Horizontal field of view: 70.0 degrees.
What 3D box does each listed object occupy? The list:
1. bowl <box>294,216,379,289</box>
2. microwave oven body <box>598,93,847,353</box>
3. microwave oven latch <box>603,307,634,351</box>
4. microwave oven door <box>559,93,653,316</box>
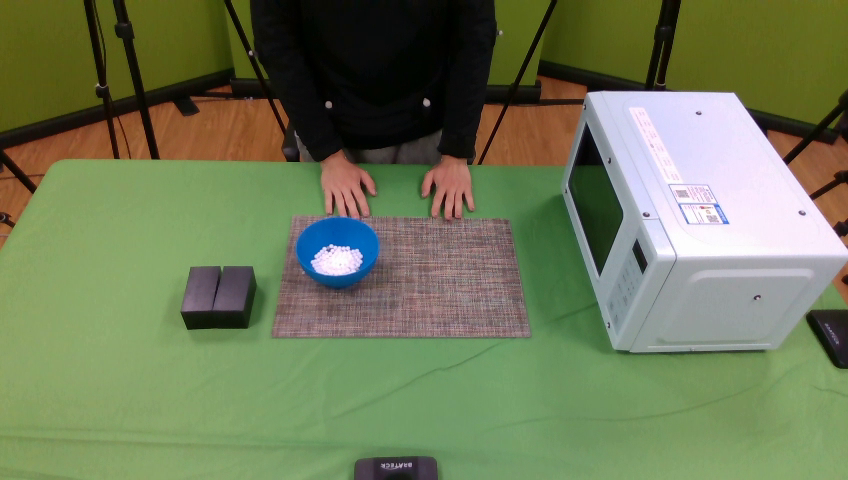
[{"bbox_3d":[-0.158,0.036,1.110,0.151,0.077,0.150,3,45,-2],"label":"bowl"},{"bbox_3d":[0.475,-0.041,1.109,0.326,0.261,0.438,-1,45,-4],"label":"microwave oven body"},{"bbox_3d":[0.332,0.153,1.043,0.030,0.029,0.078,0,45,-4],"label":"microwave oven latch"},{"bbox_3d":[0.327,-0.074,1.123,0.039,0.245,0.353,-1,46,-5],"label":"microwave oven door"}]
